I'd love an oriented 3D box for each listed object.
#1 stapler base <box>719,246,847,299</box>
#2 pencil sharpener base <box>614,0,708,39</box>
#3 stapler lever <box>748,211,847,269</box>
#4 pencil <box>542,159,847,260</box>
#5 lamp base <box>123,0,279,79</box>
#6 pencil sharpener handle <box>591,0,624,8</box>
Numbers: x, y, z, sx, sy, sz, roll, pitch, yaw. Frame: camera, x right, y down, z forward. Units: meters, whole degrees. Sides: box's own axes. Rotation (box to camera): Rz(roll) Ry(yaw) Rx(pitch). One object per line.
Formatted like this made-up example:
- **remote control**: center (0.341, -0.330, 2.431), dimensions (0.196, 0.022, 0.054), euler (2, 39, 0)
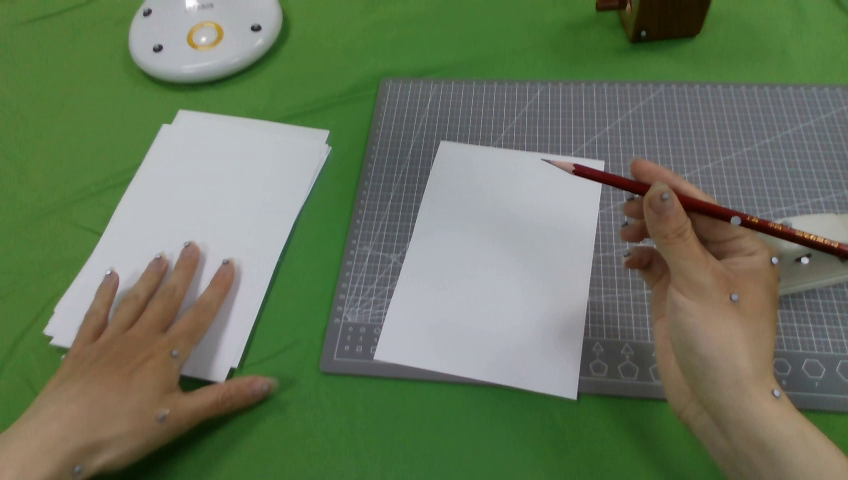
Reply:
- **stapler base**: center (0.282, 0.010, 0.435), dimensions (0.131, 0.024, 0.041), euler (-11, 59, -3)
- **pencil sharpener base**: center (0.218, -0.246, 0.553), dimensions (0.077, 0.108, 0.061), euler (-7, 58, 2)
- **stapler lever**: center (0.282, -0.005, 0.415), dimensions (0.118, 0.040, 0.026), euler (-11, 59, -3)
- **pencil**: center (0.154, -0.015, 0.324), dimensions (0.193, 0.012, 0.012), euler (20, 62, 20)
- **lamp base**: center (-0.242, -0.275, 0.568), dimensions (0.161, 0.182, 0.177), euler (-24, 57, -10)
- **pencil sharpener handle**: center (0.167, -0.242, 0.539), dimensions (0.030, 0.068, 0.035), euler (-7, 35, 2)
